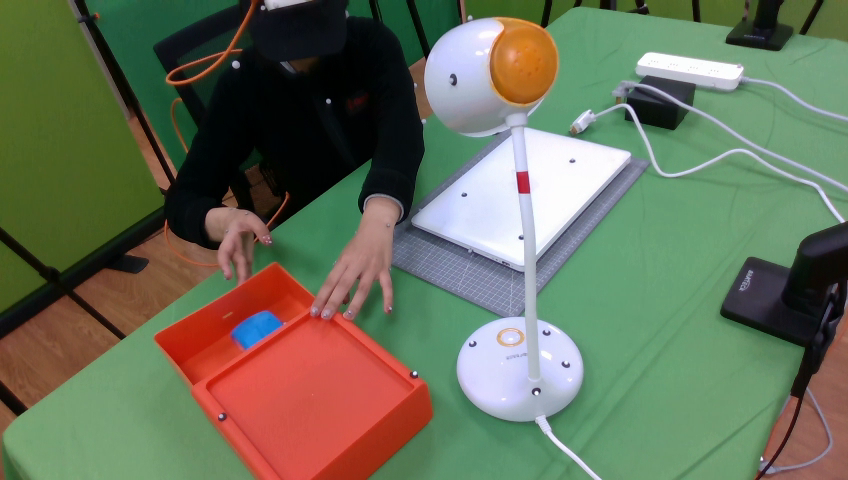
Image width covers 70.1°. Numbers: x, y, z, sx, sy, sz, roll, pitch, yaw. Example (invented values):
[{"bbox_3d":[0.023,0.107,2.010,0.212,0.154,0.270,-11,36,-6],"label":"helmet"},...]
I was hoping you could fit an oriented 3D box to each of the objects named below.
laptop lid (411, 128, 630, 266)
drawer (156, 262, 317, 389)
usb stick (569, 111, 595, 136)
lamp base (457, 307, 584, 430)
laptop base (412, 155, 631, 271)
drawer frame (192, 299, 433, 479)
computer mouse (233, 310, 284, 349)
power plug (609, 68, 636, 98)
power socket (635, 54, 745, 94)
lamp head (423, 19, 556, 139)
[{"bbox_3d":[0.172,-0.093,1.049,0.239,0.013,0.358,23,50,36],"label":"laptop lid"},{"bbox_3d":[-0.218,0.147,0.812,0.195,0.073,0.210,-34,46,-27],"label":"drawer"},{"bbox_3d":[0.309,-0.227,1.189,0.059,0.021,0.027,-44,13,-19],"label":"usb stick"},{"bbox_3d":[0.115,0.108,0.713,0.161,0.181,0.178,-16,43,-8],"label":"lamp base"},{"bbox_3d":[0.176,-0.084,1.055,0.233,0.023,0.355,21,48,36],"label":"laptop base"},{"bbox_3d":[-0.134,0.195,0.734,0.202,0.083,0.211,-35,47,-29],"label":"drawer frame"},{"bbox_3d":[-0.216,0.141,0.840,0.063,0.041,0.116,-32,47,-27],"label":"computer mouse"},{"bbox_3d":[0.406,-0.323,1.233,0.035,0.072,0.052,5,38,-34],"label":"power plug"},{"bbox_3d":[0.563,-0.358,1.295,0.225,0.033,0.072,21,49,31],"label":"power socket"},{"bbox_3d":[0.068,-0.151,0.563,0.113,0.113,0.122,-21,18,-13],"label":"lamp head"}]
